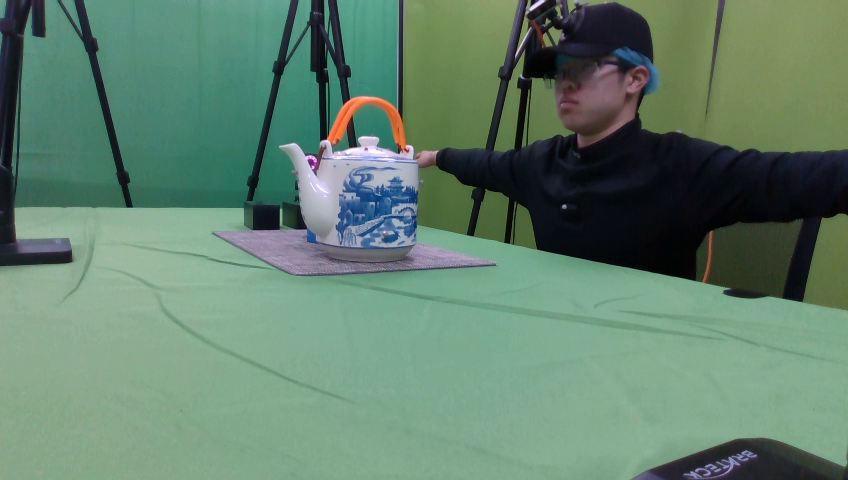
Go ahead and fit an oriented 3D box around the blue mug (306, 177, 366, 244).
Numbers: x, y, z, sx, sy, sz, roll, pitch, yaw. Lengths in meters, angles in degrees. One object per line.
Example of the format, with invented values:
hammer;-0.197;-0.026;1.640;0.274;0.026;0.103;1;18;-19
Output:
blue mug;-0.144;-0.052;1.027;0.082;0.106;0.117;9;10;42

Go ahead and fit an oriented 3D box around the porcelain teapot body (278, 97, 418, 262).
porcelain teapot body;-0.104;-0.086;0.842;0.206;0.225;0.144;-4;10;-38

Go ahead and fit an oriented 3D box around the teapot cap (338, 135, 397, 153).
teapot cap;-0.080;-0.127;0.854;0.085;0.044;0.085;-1;6;0
